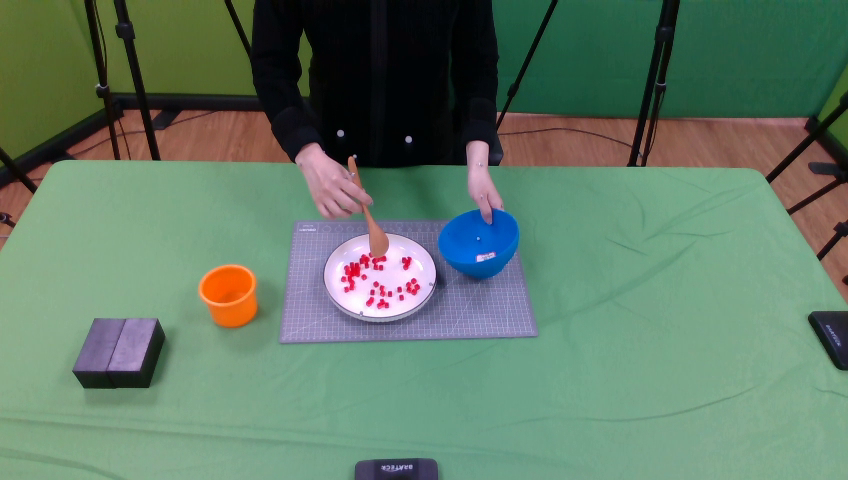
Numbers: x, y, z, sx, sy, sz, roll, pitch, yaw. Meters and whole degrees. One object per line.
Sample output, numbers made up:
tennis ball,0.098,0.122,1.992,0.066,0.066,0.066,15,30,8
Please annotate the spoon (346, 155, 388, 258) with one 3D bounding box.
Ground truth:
spoon,-0.102,-0.055,1.045,0.041,0.194,0.021,-29,24,-24

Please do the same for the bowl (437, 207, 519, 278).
bowl,0.105,0.017,1.110,0.151,0.077,0.150,-12,39,10

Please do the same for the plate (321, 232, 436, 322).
plate,-0.083,0.070,1.109,0.209,0.038,0.208,3,46,-3
